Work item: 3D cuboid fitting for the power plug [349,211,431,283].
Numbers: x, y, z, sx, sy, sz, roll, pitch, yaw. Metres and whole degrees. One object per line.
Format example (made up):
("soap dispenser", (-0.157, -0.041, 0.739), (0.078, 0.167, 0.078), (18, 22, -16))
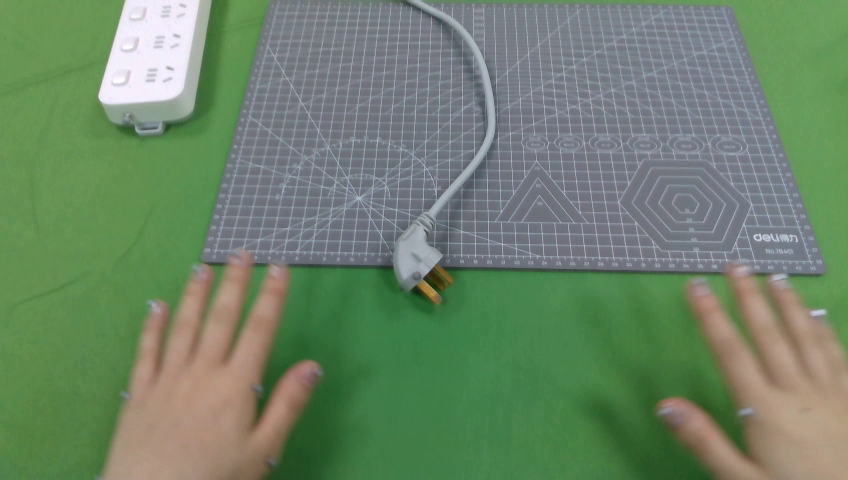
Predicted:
("power plug", (-0.022, -0.002, 0.413), (0.035, 0.073, 0.052), (-35, 22, -8))

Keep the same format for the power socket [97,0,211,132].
("power socket", (-0.238, -0.194, 0.551), (0.072, 0.033, 0.224), (-3, 58, -3))
